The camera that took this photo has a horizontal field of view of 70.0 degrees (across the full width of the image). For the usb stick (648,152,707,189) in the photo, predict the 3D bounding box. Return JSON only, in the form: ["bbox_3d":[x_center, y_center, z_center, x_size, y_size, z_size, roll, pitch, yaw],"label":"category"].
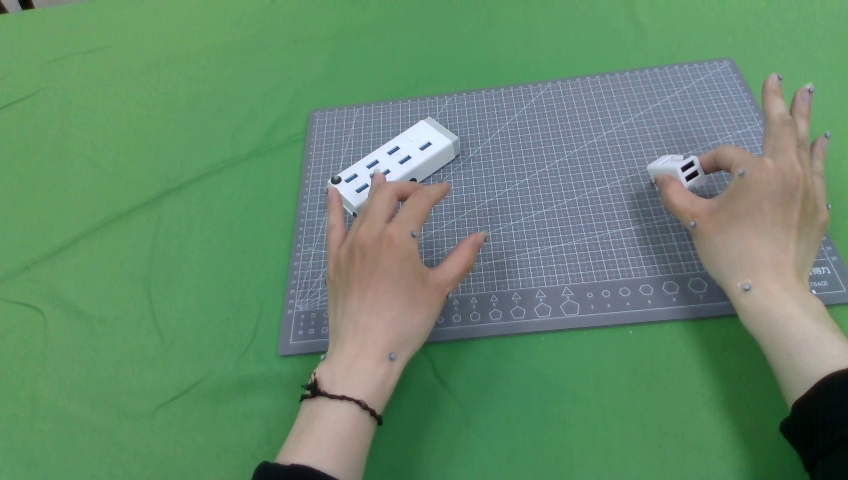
[{"bbox_3d":[0.210,-0.059,0.513,0.021,0.059,0.027,-34,99,-4],"label":"usb stick"}]

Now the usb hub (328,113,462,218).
[{"bbox_3d":[-0.027,-0.073,0.579,0.125,0.025,0.049,-35,56,-17],"label":"usb hub"}]
